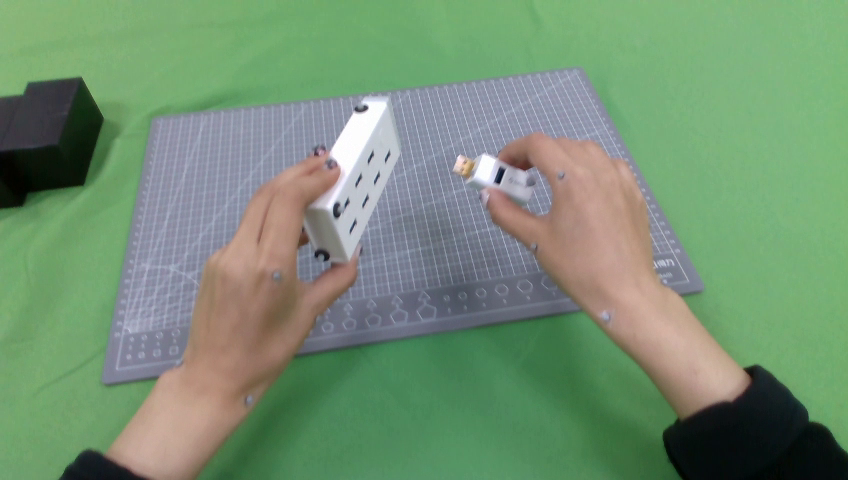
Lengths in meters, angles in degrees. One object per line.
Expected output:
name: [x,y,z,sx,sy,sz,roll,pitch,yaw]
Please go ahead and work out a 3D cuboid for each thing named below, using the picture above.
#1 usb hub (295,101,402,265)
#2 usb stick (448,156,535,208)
usb hub: [-0.048,-0.044,0.423,0.025,0.050,0.124,3,45,19]
usb stick: [0.047,-0.043,0.433,0.059,0.027,0.021,21,84,-6]
